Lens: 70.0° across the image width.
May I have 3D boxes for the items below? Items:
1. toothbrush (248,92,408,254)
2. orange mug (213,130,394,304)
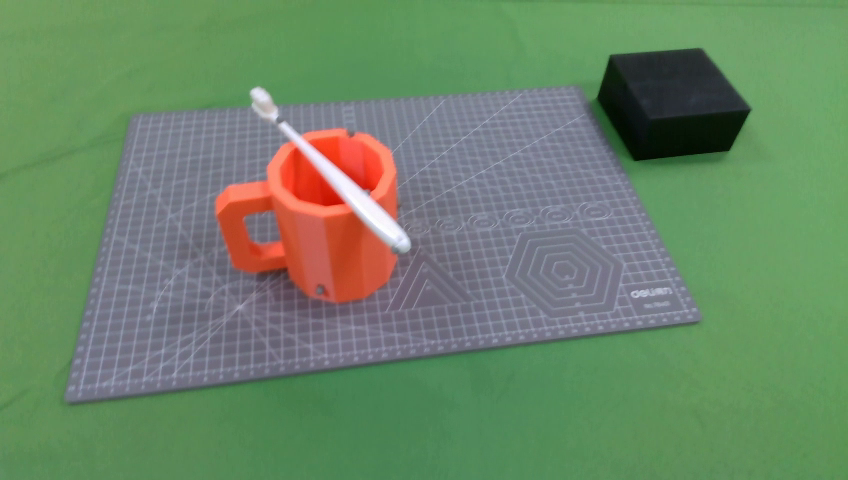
[{"bbox_3d":[-0.069,-0.049,0.401,0.014,0.017,0.180,-31,58,-26],"label":"toothbrush"},{"bbox_3d":[-0.083,-0.014,0.439,0.126,0.101,0.082,-7,50,-14],"label":"orange mug"}]
